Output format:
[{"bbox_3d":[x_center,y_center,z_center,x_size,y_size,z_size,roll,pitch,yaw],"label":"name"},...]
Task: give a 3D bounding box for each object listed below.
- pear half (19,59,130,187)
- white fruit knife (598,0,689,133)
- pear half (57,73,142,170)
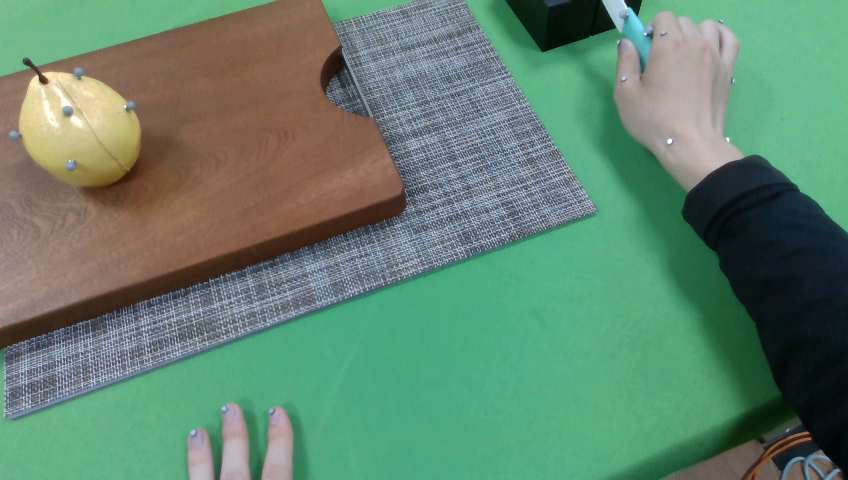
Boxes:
[{"bbox_3d":[-0.268,-0.083,0.442,0.056,0.111,0.075,-34,59,-16],"label":"pear half"},{"bbox_3d":[0.173,-0.187,0.523,0.016,0.027,0.206,-23,80,-17],"label":"white fruit knife"},{"bbox_3d":[-0.238,-0.095,0.459,0.031,0.089,0.070,-33,59,-17],"label":"pear half"}]
